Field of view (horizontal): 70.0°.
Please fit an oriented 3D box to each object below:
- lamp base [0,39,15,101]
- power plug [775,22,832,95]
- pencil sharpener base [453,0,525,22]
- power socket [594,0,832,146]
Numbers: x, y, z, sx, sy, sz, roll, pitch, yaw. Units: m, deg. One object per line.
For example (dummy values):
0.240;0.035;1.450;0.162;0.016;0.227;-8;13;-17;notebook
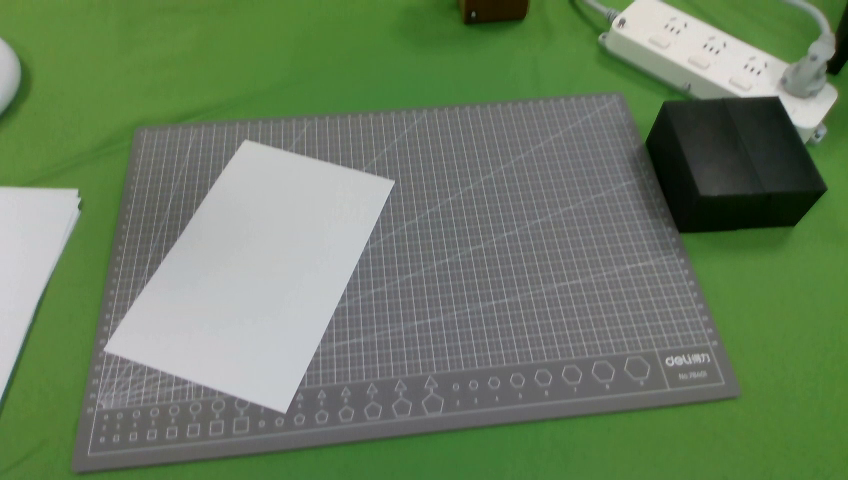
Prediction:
-0.468;-0.194;0.493;0.160;0.182;0.177;-33;61;-20;lamp base
0.348;-0.155;0.546;0.072;0.053;0.035;-34;64;-20;power plug
0.062;-0.281;0.604;0.077;0.108;0.061;-8;58;-5;pencil sharpener base
0.273;-0.165;0.579;0.225;0.033;0.072;37;63;21;power socket
